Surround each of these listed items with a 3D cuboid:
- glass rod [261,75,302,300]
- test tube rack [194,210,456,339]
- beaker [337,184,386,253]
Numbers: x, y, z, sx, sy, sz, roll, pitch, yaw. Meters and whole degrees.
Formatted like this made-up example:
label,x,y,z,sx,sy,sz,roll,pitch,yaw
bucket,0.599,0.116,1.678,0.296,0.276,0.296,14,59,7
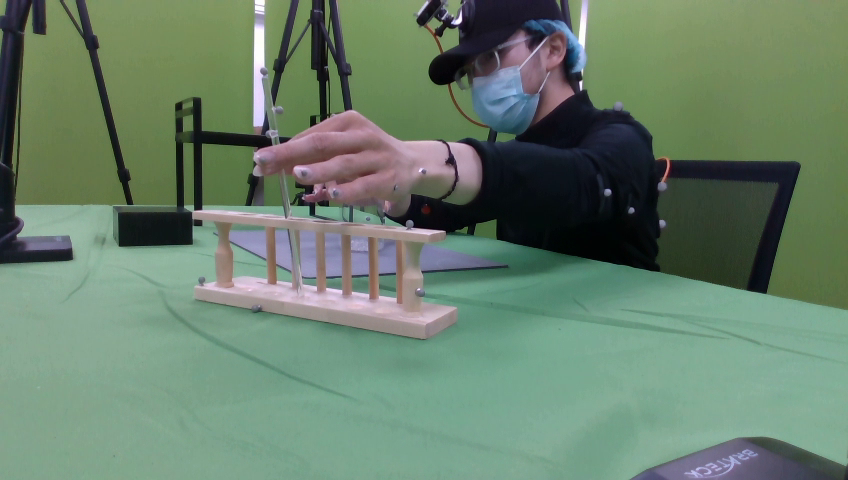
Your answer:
label,x,y,z,sx,sy,sz,roll,pitch,yaw
glass rod,-0.124,-0.043,0.532,0.008,0.199,0.008,-7,8,1
test tube rack,-0.093,0.023,0.546,0.241,0.085,0.067,6,8,25
beaker,-0.095,-0.033,0.917,0.074,0.100,0.084,1,8,-8
